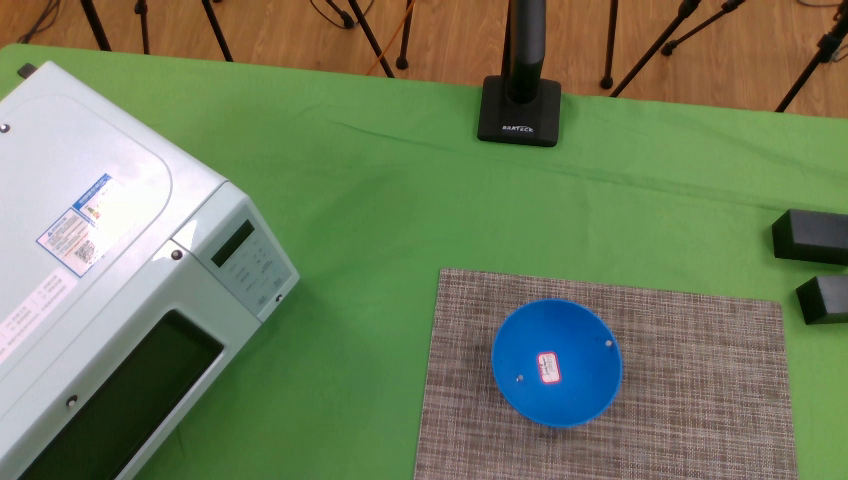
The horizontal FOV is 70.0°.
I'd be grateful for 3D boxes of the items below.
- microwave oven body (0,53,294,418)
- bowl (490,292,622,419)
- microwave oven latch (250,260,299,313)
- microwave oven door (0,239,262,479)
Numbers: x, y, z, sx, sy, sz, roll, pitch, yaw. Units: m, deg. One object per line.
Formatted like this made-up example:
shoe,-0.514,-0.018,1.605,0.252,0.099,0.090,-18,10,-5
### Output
microwave oven body,-0.424,0.074,0.683,0.324,0.262,0.440,33,73,14
bowl,0.152,0.145,0.734,0.151,0.077,0.150,-1,67,2
microwave oven latch,-0.197,0.055,0.789,0.030,0.030,0.079,35,73,15
microwave oven door,-0.329,0.180,0.630,0.039,0.245,0.355,32,72,15
